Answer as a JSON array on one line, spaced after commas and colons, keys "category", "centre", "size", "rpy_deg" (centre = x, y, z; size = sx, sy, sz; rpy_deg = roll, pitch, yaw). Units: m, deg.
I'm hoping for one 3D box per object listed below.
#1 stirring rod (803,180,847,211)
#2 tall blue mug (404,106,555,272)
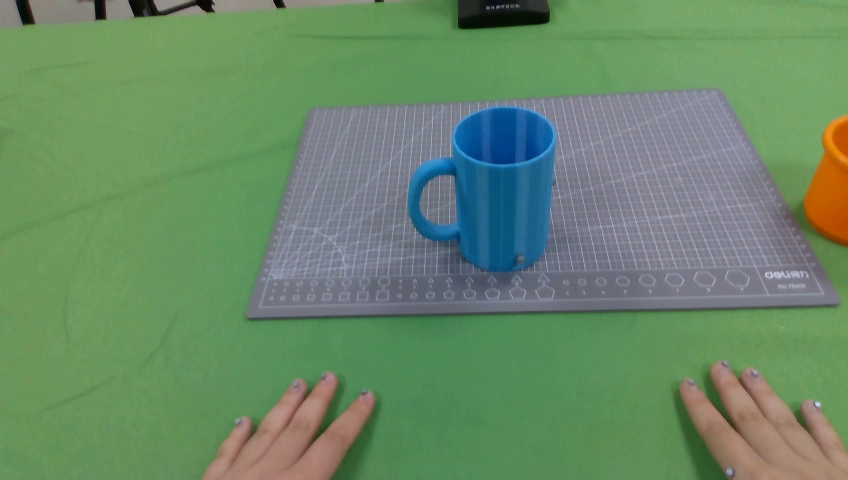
[{"category": "stirring rod", "centre": [0.379, -0.065, 0.456], "size": [0.176, 0.006, 0.014], "rpy_deg": [-32, 33, 38]}, {"category": "tall blue mug", "centre": [0.047, -0.031, 0.472], "size": [0.107, 0.109, 0.077], "rpy_deg": [-30, 50, -23]}]
